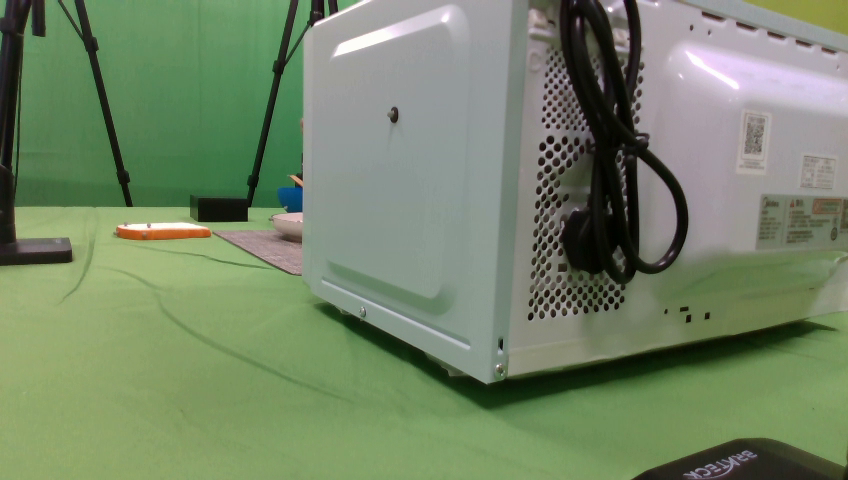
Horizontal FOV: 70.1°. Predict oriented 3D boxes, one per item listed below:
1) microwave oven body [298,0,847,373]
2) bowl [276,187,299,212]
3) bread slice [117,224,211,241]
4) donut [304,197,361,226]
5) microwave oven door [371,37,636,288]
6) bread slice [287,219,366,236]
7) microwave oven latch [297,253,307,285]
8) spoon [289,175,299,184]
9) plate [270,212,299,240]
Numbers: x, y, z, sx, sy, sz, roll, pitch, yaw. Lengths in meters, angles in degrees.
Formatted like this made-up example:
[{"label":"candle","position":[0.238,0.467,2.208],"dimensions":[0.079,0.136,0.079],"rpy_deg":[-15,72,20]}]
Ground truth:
[{"label":"microwave oven body","position":[0.151,-0.055,0.542],"dimensions":[0.444,0.260,0.324],"rpy_deg":[-2,7,-33]},{"label":"bowl","position":[-0.241,-0.073,1.302],"dimensions":[0.151,0.077,0.151],"rpy_deg":[2,7,0]},{"label":"bread slice","position":[-0.443,-0.015,1.022],"dimensions":[0.132,0.019,0.104],"rpy_deg":[-3,8,-45]},{"label":"donut","position":[-0.159,-0.050,1.055],"dimensions":[0.099,0.048,0.099],"rpy_deg":[3,8,0]},{"label":"microwave oven door","position":[0.109,-0.080,0.686],"dimensions":[0.358,0.243,0.039],"rpy_deg":[-2,9,-33]},{"label":"bread slice","position":[-0.170,-0.022,1.056],"dimensions":[0.134,0.018,0.107],"rpy_deg":[2,7,-6]},{"label":"microwave oven latch","position":[-0.081,0.027,0.582],"dimensions":[0.079,0.029,0.030],"rpy_deg":[-1,7,-32]},{"label":"spoon","position":[-0.260,-0.111,1.343],"dimensions":[0.042,0.021,0.192],"rpy_deg":[-7,33,-31]},{"label":"plate","position":[-0.162,-0.022,1.058],"dimensions":[0.208,0.039,0.207],"rpy_deg":[2,7,0]}]
